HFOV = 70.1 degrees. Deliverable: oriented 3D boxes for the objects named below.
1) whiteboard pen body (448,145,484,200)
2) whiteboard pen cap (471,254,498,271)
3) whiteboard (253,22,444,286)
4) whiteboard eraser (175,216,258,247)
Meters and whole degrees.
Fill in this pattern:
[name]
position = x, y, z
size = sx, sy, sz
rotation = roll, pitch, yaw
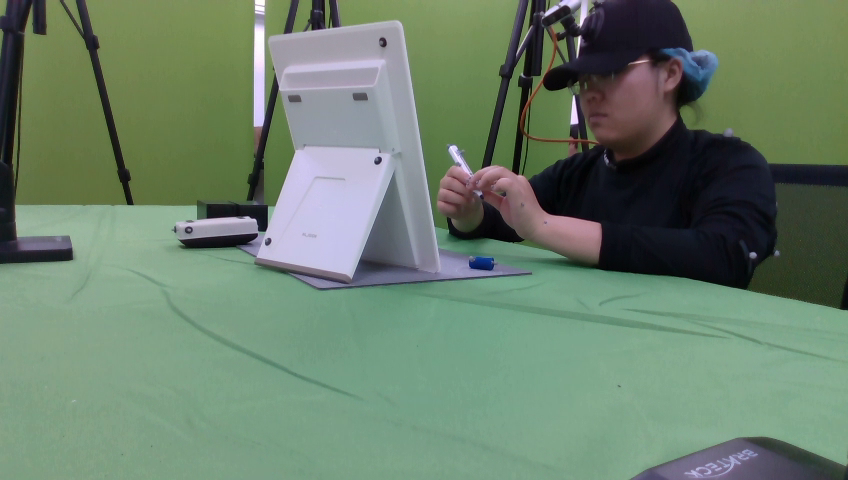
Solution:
[whiteboard pen body]
position = 0.069, -0.109, 0.973
size = 0.017, 0.017, 0.140
rotation = -1, 43, -24
[whiteboard pen cap]
position = 0.080, 0.031, 0.800
size = 0.033, 0.018, 0.018
rotation = 19, 3, -17
[whiteboard]
position = -0.125, -0.081, 0.715
size = 0.216, 0.305, 0.144
rotation = 9, 29, 36
[whiteboard eraser]
position = -0.314, -0.012, 0.915
size = 0.113, 0.042, 0.055
rotation = -5, 12, -30
